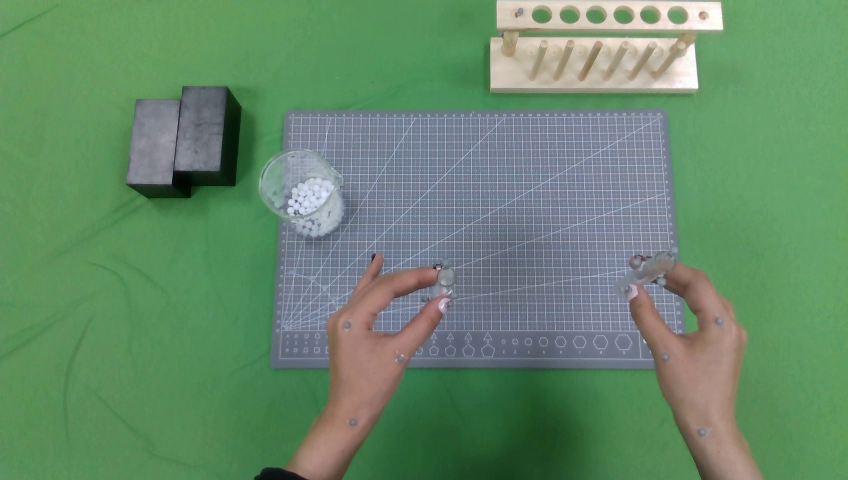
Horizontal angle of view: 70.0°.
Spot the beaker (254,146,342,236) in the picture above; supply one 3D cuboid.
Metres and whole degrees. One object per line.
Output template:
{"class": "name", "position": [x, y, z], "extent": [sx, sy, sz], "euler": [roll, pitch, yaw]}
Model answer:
{"class": "beaker", "position": [-0.126, -0.048, 0.645], "extent": [0.084, 0.100, 0.073], "euler": [-8, 78, -2]}

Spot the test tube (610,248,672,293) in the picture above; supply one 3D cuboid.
{"class": "test tube", "position": [0.175, 0.028, 0.502], "extent": [0.017, 0.151, 0.017], "euler": [-1, 78, 5]}

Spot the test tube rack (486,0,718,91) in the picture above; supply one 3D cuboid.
{"class": "test tube rack", "position": [0.195, -0.220, 0.690], "extent": [0.242, 0.085, 0.066], "euler": [0, 77, 1]}

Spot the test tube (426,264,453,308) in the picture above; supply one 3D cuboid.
{"class": "test tube", "position": [0.012, 0.042, 0.516], "extent": [0.017, 0.151, 0.017], "euler": [0, 77, -2]}
